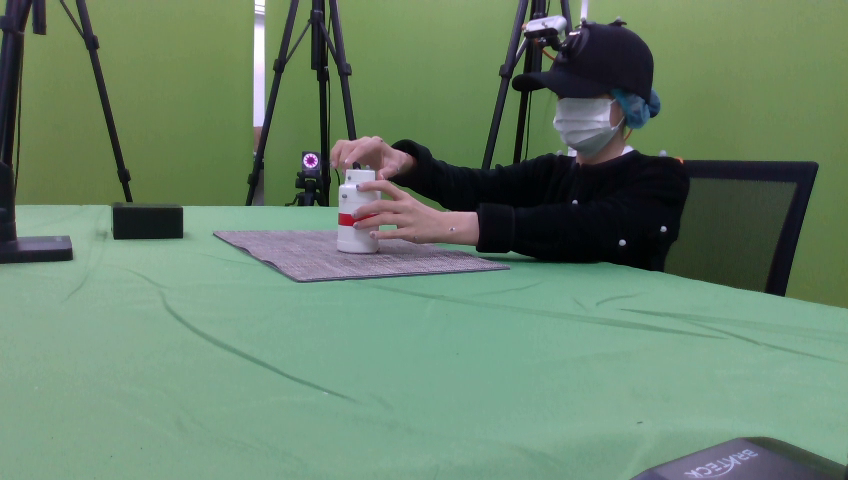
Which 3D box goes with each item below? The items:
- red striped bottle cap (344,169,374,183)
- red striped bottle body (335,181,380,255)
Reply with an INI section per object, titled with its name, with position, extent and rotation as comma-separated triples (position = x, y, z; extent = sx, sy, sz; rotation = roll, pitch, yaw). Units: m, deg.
[red striped bottle cap]
position = -0.094, -0.094, 0.886
extent = 0.044, 0.017, 0.044
rotation = 5, 7, 0
[red striped bottle body]
position = -0.097, -0.042, 0.894
extent = 0.063, 0.119, 0.063
rotation = 3, 8, 0
